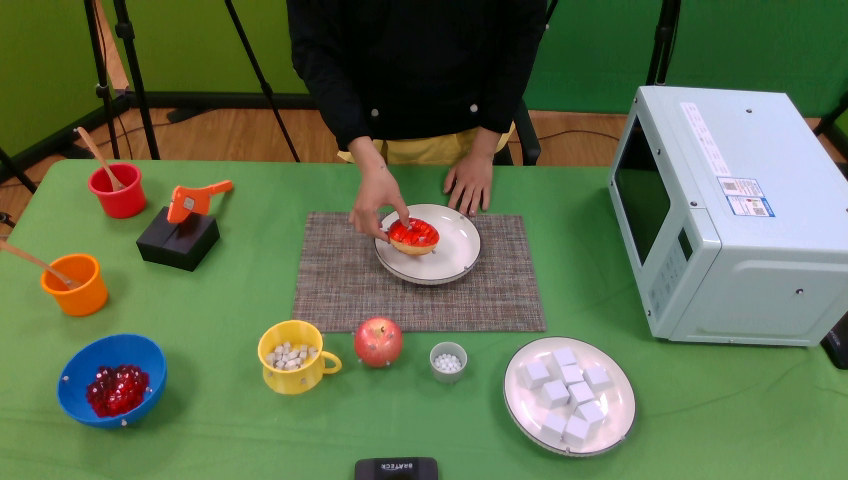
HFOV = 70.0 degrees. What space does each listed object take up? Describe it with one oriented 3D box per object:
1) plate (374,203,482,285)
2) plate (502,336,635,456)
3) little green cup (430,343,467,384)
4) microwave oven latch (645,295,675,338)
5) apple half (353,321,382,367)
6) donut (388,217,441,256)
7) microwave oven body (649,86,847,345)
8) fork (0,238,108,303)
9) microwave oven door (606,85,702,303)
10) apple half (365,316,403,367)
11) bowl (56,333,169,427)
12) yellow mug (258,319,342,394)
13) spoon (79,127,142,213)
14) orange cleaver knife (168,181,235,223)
[{"bbox_3d":[0.007,0.011,1.172,0.209,0.038,0.208,2,46,-2],"label":"plate"},{"bbox_3d":[0.225,0.248,0.963,0.208,0.039,0.206,2,46,-2],"label":"plate"},{"bbox_3d":[0.039,0.203,0.994,0.061,0.039,0.061,2,46,-2],"label":"little green cup"},{"bbox_3d":[0.411,0.134,1.061,0.030,0.029,0.078,3,45,0],"label":"microwave oven latch"},{"bbox_3d":[-0.098,0.176,0.984,0.033,0.081,0.081,-17,49,-25],"label":"apple half"},{"bbox_3d":[-0.018,-0.007,1.126,0.099,0.048,0.098,6,31,-4],"label":"donut"},{"bbox_3d":[0.567,-0.053,1.118,0.326,0.261,0.439,2,45,-1],"label":"microwave oven body"},{"bbox_3d":[-0.633,0.048,1.017,0.208,0.018,0.028,40,42,-27],"label":"fork"},{"bbox_3d":[0.423,-0.094,1.140,0.039,0.245,0.353,2,46,-1],"label":"microwave oven door"},{"bbox_3d":[-0.063,0.165,1.000,0.053,0.075,0.080,-16,45,-24],"label":"apple half"},{"bbox_3d":[-0.456,0.223,0.911,0.151,0.077,0.150,3,46,-2],"label":"bowl"},{"bbox_3d":[-0.196,0.189,0.972,0.131,0.064,0.099,9,46,4],"label":"yellow mug"},{"bbox_3d":[-0.625,-0.139,1.203,0.041,0.021,0.194,-33,100,-26],"label":"spoon"},{"bbox_3d":[-0.436,-0.078,1.196,0.012,0.077,0.211,16,15,10],"label":"orange cleaver knife"}]
